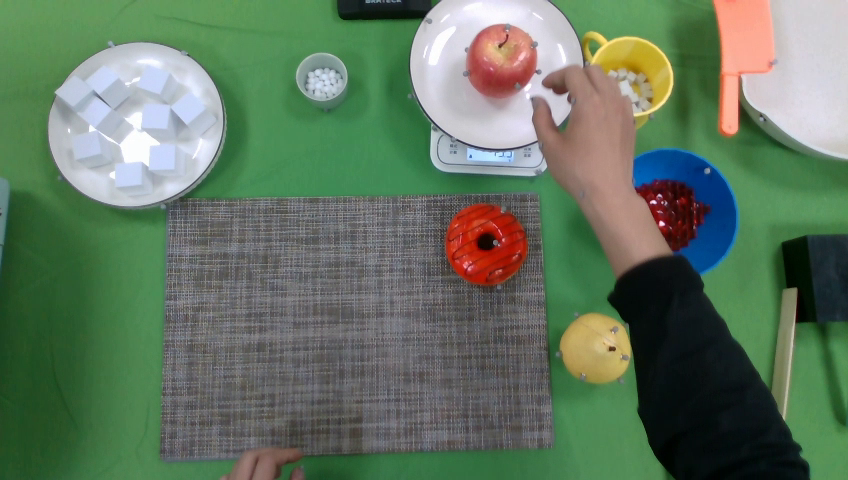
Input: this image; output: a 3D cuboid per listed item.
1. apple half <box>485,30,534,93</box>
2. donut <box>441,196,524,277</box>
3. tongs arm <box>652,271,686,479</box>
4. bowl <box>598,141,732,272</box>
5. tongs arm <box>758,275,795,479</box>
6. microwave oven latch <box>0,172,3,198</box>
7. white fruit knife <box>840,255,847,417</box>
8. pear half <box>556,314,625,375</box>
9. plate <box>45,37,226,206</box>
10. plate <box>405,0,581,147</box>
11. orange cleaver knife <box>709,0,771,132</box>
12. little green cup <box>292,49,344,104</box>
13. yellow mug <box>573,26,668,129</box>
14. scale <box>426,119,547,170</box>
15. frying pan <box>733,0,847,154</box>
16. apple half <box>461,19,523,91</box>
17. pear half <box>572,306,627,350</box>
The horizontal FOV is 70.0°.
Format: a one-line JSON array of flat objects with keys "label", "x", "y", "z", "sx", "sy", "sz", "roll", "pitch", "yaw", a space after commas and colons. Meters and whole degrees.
[{"label": "apple half", "x": 0.104, "y": -0.196, "z": 0.696, "sx": 0.032, "sy": 0.081, "sz": 0.081, "roll": 37, "pitch": 82, "yaw": 7}, {"label": "donut", "x": 0.068, "y": -0.004, "z": 0.716, "sx": 0.099, "sy": 0.048, "sz": 0.098, "roll": 0, "pitch": 82, "yaw": 0}, {"label": "tongs arm", "x": 0.307, "y": 0.225, "z": 0.699, "sx": 0.051, "sy": 0.026, "sz": 0.383, "roll": -2, "pitch": 83, "yaw": -5}, {"label": "bowl", "x": 0.270, "y": -0.032, "z": 0.714, "sx": 0.151, "sy": 0.077, "sz": 0.151, "roll": 0, "pitch": 82, "yaw": -2}, {"label": "tongs arm", "x": 0.394, "y": 0.229, "z": 0.702, "sx": 0.028, "sy": 0.028, "sz": 0.386, "roll": 13, "pitch": 83, "yaw": -6}, {"label": "microwave oven latch", "x": -0.505, "y": -0.044, "z": 0.691, "sx": 0.030, "sy": 0.029, "sz": 0.079, "roll": 3, "pitch": 82, "yaw": -2}, {"label": "white fruit knife", "x": 0.493, "y": 0.108, "z": 0.699, "sx": 0.016, "sy": 0.027, "sz": 0.207, "roll": -4, "pitch": 96, "yaw": -2}, {"label": "pear half", "x": 0.184, "y": 0.122, "z": 0.672, "sx": 0.076, "sy": 0.110, "sz": 0.056, "roll": 30, "pitch": 81, "yaw": 7}, {"label": "plate", "x": -0.341, "y": -0.140, "z": 0.730, "sx": 0.208, "sy": 0.039, "sz": 0.207, "roll": 0, "pitch": 81, "yaw": -2}, {"label": "plate", "x": 0.081, "y": -0.209, "z": 0.724, "sx": 0.209, "sy": 0.038, "sz": 0.208, "roll": 0, "pitch": 81, "yaw": -2}, {"label": "orange cleaver knife", "x": 0.370, "y": -0.230, "z": 0.715, "sx": 0.077, "sy": 0.012, "sz": 0.210, "roll": 3, "pitch": 82, "yaw": 1}, {"label": "little green cup", "x": -0.128, "y": -0.199, "z": 0.746, "sx": 0.061, "sy": 0.039, "sz": 0.061, "roll": 0, "pitch": 81, "yaw": -1}, {"label": "yellow mug", "x": 0.229, "y": -0.207, "z": 0.744, "sx": 0.100, "sy": 0.064, "sz": 0.130, "roll": -34, "pitch": 83, "yaw": -6}, {"label": "scale", "x": 0.080, "y": -0.189, "z": 0.754, "sx": 0.149, "sy": 0.031, "sz": 0.200, "roll": 3, "pitch": 82, "yaw": -1}, {"label": "frying pan", "x": 0.555, "y": -0.153, "z": 0.727, "sx": 0.307, "sy": 0.103, "sz": 0.485, "roll": -28, "pitch": 75, "yaw": -5}, {"label": "apple half", "x": 0.072, "y": -0.218, "z": 0.698, "sx": 0.053, "sy": 0.075, "sz": 0.081, "roll": 38, "pitch": 84, "yaw": 8}, {"label": "pear half", "x": 0.203, "y": 0.094, "z": 0.686, "sx": 0.070, "sy": 0.088, "sz": 0.031, "roll": 28, "pitch": 82, "yaw": 6}]
